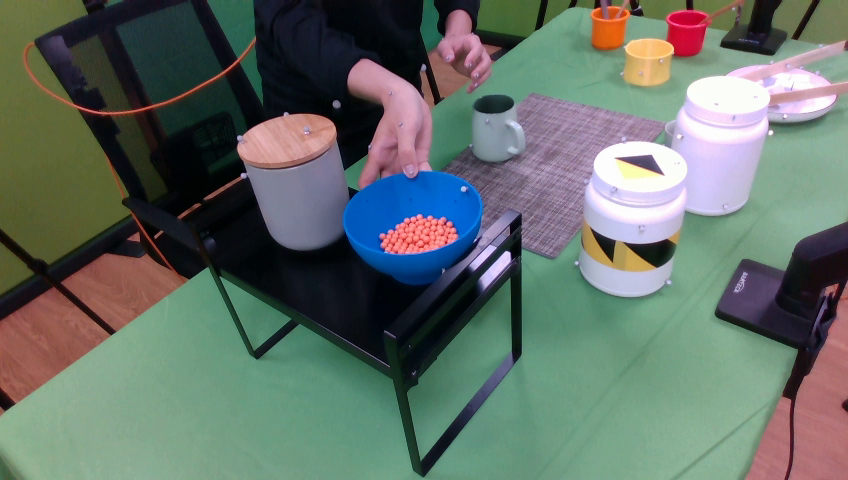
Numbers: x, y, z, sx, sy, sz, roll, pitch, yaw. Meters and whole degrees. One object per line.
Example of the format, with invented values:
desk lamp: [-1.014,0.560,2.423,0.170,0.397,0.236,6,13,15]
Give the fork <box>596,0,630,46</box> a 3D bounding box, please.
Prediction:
fork: [0.481,-0.556,1.453,0.028,0.019,0.207,40,103,38]

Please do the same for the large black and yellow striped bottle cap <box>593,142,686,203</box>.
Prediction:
large black and yellow striped bottle cap: [0.280,-0.090,0.786,0.115,0.019,0.114,-5,41,5]

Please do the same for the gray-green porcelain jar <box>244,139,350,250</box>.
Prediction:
gray-green porcelain jar: [-0.143,-0.060,0.714,0.106,0.127,0.105,-4,41,4]

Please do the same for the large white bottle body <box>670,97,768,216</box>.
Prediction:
large white bottle body: [0.458,-0.146,0.952,0.130,0.185,0.130,-4,40,4]

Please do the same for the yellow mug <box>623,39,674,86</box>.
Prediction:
yellow mug: [0.485,-0.398,1.334,0.100,0.064,0.130,-18,40,-11]

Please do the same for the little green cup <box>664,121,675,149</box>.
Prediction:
little green cup: [0.472,-0.188,1.113,0.061,0.039,0.061,-5,40,4]

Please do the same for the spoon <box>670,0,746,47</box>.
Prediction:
spoon: [0.629,-0.485,1.350,0.022,0.193,0.042,48,54,-7]

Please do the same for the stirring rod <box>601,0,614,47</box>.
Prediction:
stirring rod: [0.439,-0.552,1.463,0.014,0.006,0.175,-7,83,3]

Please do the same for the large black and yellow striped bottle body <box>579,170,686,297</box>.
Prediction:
large black and yellow striped bottle body: [0.287,-0.027,0.841,0.131,0.185,0.130,-4,40,4]

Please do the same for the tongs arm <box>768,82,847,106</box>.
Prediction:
tongs arm: [0.738,-0.282,1.134,0.388,0.028,0.028,-9,46,-5]

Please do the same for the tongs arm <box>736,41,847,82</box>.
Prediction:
tongs arm: [0.712,-0.332,1.194,0.386,0.026,0.050,-19,45,-16]

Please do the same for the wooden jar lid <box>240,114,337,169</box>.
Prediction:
wooden jar lid: [-0.149,-0.106,0.673,0.108,0.021,0.108,-6,39,5]

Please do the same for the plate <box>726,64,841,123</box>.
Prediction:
plate: [0.695,-0.282,1.189,0.207,0.039,0.206,-4,40,4]

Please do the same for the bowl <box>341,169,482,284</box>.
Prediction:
bowl: [-0.009,-0.005,0.665,0.151,0.077,0.150,-4,40,4]

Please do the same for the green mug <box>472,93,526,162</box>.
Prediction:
green mug: [0.144,-0.202,1.122,0.093,0.105,0.124,-29,45,-23]

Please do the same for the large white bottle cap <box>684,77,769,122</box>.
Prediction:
large white bottle cap: [0.448,-0.210,0.898,0.115,0.018,0.114,-4,40,4]
